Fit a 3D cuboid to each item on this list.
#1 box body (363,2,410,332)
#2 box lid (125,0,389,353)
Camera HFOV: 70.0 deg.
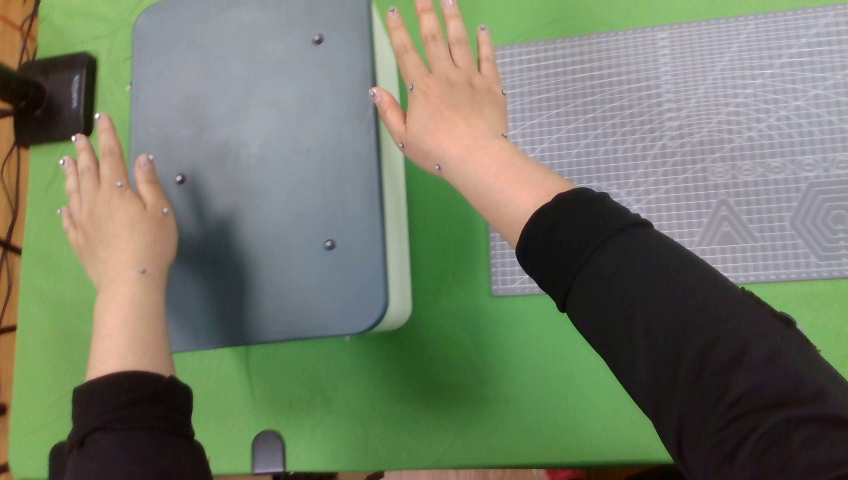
[{"bbox_3d":[-0.159,-0.069,0.666,0.254,0.161,0.362,-7,79,10],"label":"box body"},{"bbox_3d":[-0.173,-0.085,0.594,0.263,0.015,0.370,-7,80,10],"label":"box lid"}]
